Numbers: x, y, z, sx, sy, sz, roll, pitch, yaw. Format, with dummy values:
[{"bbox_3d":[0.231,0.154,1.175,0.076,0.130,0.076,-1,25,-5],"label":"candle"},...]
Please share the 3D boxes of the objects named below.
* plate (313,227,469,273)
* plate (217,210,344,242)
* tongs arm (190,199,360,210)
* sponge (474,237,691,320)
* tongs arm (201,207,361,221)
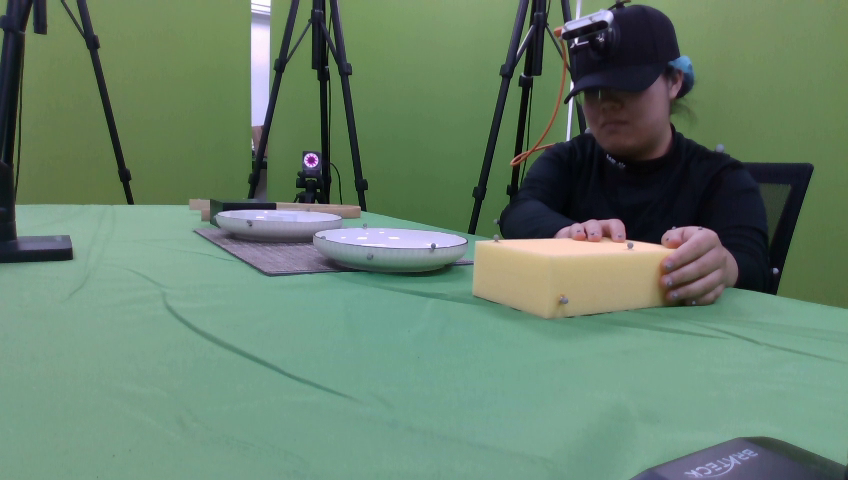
[{"bbox_3d":[-0.044,0.012,0.808,0.209,0.038,0.209,2,7,0],"label":"plate"},{"bbox_3d":[-0.241,-0.024,1.026,0.208,0.039,0.207,3,7,0],"label":"plate"},{"bbox_3d":[-0.341,-0.075,1.419,0.387,0.026,0.050,0,9,-25],"label":"tongs arm"},{"bbox_3d":[0.170,0.035,0.643,0.208,0.061,0.117,-2,7,-33],"label":"sponge"},{"bbox_3d":[-0.302,-0.060,1.350,0.390,0.028,0.028,-3,7,-38],"label":"tongs arm"}]
